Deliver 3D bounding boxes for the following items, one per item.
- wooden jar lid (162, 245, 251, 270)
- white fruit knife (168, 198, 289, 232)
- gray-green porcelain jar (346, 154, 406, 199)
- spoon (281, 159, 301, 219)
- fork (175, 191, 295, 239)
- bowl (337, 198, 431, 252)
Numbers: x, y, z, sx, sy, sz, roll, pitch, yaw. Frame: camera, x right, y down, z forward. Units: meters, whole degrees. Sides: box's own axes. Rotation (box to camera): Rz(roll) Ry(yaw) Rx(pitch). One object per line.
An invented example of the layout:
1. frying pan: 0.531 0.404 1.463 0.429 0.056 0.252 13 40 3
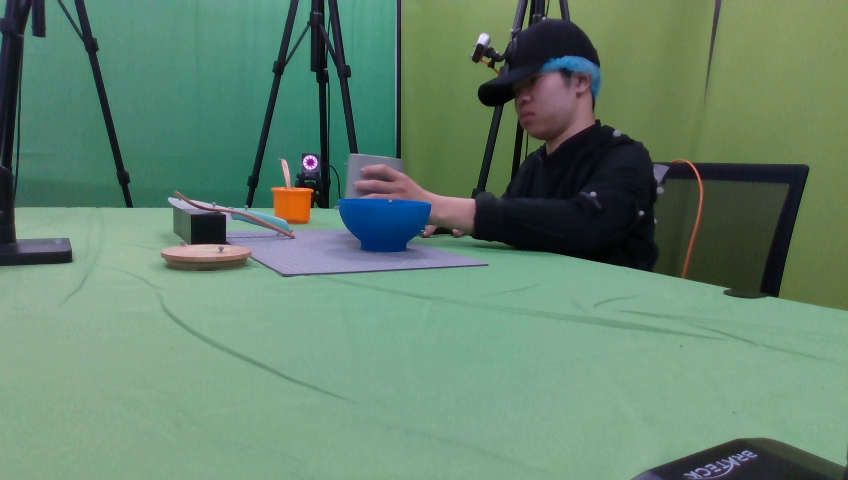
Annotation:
1. wooden jar lid: -0.278 0.022 0.777 0.108 0.020 0.108 2 6 0
2. white fruit knife: -0.329 -0.044 1.036 0.208 0.027 0.016 14 -1 -32
3. gray-green porcelain jar: -0.093 -0.094 1.143 0.106 0.126 0.106 6 6 0
4. spoon: -0.307 -0.117 1.368 0.042 0.193 0.021 1 -37 -23
5. fork: -0.305 -0.039 0.993 0.208 0.018 0.028 19 -9 -34
6. bowl: -0.066 -0.024 0.967 0.151 0.077 0.151 3 7 0
